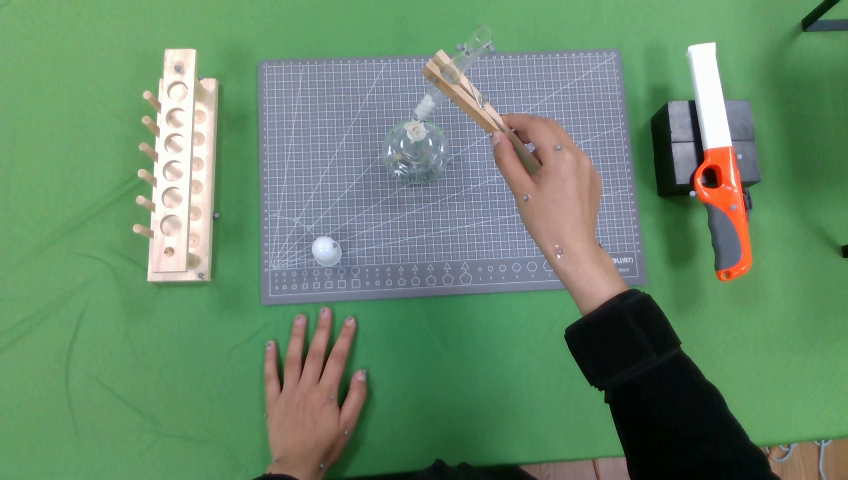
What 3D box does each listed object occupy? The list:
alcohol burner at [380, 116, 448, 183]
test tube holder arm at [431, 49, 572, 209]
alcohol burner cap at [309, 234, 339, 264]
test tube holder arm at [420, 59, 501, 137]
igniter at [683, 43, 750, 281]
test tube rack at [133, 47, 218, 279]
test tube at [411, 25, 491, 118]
[{"bbox_3d":[-0.011,-0.106,0.673,0.078,0.119,0.077,0,81,-2],"label":"alcohol burner"},{"bbox_3d":[0.069,-0.095,0.534,0.179,0.015,0.013,46,70,-7],"label":"test tube holder arm"},{"bbox_3d":[-0.114,0.009,0.684,0.034,0.048,0.033,1,80,-4],"label":"alcohol burner cap"},{"bbox_3d":[0.033,-0.122,0.526,0.088,0.015,0.010,39,70,-9],"label":"test tube holder arm"},{"bbox_3d":[0.330,-0.092,0.687,0.057,0.025,0.275,-5,80,8],"label":"igniter"},{"bbox_3d":[-0.279,-0.082,0.672,0.067,0.085,0.241,-1,80,-3],"label":"test tube rack"},{"bbox_3d":[0.019,-0.140,0.526,0.017,0.150,0.017,5,76,-20],"label":"test tube"}]
